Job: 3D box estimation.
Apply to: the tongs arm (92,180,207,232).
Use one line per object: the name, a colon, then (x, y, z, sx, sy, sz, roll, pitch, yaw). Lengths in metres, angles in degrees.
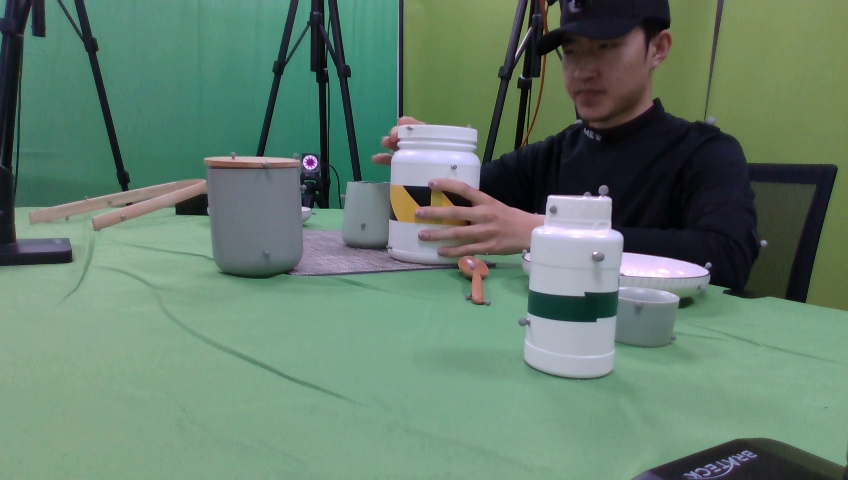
tongs arm: (-0.534, -0.075, 1.222, 0.028, 0.028, 0.388, -2, 15, 12)

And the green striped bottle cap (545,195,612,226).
green striped bottle cap: (0.106, -0.020, 0.414, 0.044, 0.020, 0.044, 2, 4, 0)

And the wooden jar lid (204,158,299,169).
wooden jar lid: (-0.202, -0.086, 0.714, 0.108, 0.020, 0.108, 2, 11, 0)

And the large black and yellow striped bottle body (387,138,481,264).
large black and yellow striped bottle body: (0.015, -0.064, 0.867, 0.131, 0.184, 0.130, 3, 7, 0)

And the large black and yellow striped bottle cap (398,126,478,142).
large black and yellow striped bottle cap: (0.020, -0.150, 0.857, 0.115, 0.019, 0.115, 1, 7, 0)

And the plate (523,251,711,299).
plate: (0.219, 0.041, 0.706, 0.209, 0.038, 0.209, 2, 7, 0)

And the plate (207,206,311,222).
plate: (-0.342, -0.050, 1.259, 0.208, 0.039, 0.207, 3, 7, 0)

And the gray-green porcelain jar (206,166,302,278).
gray-green porcelain jar: (-0.201, -0.024, 0.724, 0.106, 0.126, 0.106, -1, 9, 1)

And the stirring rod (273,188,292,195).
stirring rod: (-0.354, -0.122, 1.519, 0.006, 0.014, 0.176, 1, 7, 1)

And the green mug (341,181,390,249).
green mug: (-0.090, -0.044, 0.996, 0.093, 0.105, 0.125, 0, 7, -9)

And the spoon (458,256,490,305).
spoon: (0.059, 0.044, 0.695, 0.041, 0.021, 0.194, 17, 7, 1)

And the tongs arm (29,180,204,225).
tongs arm: (-0.609, -0.083, 1.245, 0.050, 0.026, 0.386, 5, 16, 23)

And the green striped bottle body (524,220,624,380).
green striped bottle body: (0.104, 0.031, 0.422, 0.063, 0.119, 0.063, 2, 8, 0)

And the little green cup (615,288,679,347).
little green cup: (0.180, 0.064, 0.506, 0.061, 0.038, 0.061, 2, 8, 0)
